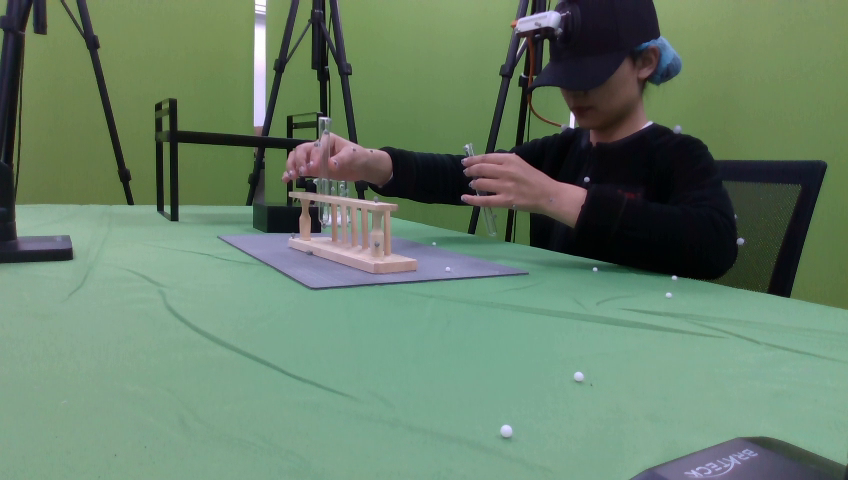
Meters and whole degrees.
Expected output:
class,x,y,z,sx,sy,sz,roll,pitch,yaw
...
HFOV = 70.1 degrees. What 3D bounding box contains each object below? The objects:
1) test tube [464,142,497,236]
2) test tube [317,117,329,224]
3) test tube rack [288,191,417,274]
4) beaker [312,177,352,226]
class,x,y,z,sx,sy,sz,roll,pitch,yaw
test tube,0.087,-0.078,0.933,0.017,0.150,0.017,-15,0,0
test tube,-0.142,-0.097,0.850,0.017,0.150,0.017,2,11,0
test tube rack,-0.106,-0.017,0.835,0.067,0.085,0.241,-3,9,-37
beaker,-0.194,-0.081,1.266,0.084,0.100,0.073,-3,9,-29
